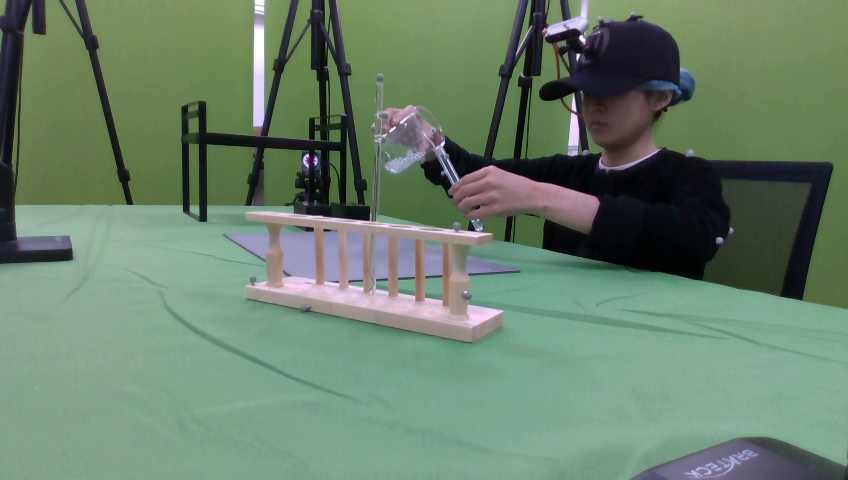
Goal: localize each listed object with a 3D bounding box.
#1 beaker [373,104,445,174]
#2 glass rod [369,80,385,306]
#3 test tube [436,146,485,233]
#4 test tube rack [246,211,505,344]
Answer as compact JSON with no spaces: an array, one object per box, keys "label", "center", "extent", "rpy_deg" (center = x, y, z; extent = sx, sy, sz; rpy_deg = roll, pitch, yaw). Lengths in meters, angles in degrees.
[{"label":"beaker","center":[-0.025,-0.156,0.972],"extent":[0.100,0.084,0.074],"rpy_deg":[-31,-14,29]},{"label":"glass rod","center":[-0.041,-0.039,0.530],"extent":[0.008,0.199,0.008],"rpy_deg":[3,2,0]},{"label":"test tube","center":[0.056,-0.078,0.926],"extent":[0.017,0.150,0.017],"rpy_deg":[-25,-12,-6]},{"label":"test tube rack","center":[-0.049,0.025,0.547],"extent":[0.241,0.085,0.067],"rpy_deg":[7,8,29]}]
